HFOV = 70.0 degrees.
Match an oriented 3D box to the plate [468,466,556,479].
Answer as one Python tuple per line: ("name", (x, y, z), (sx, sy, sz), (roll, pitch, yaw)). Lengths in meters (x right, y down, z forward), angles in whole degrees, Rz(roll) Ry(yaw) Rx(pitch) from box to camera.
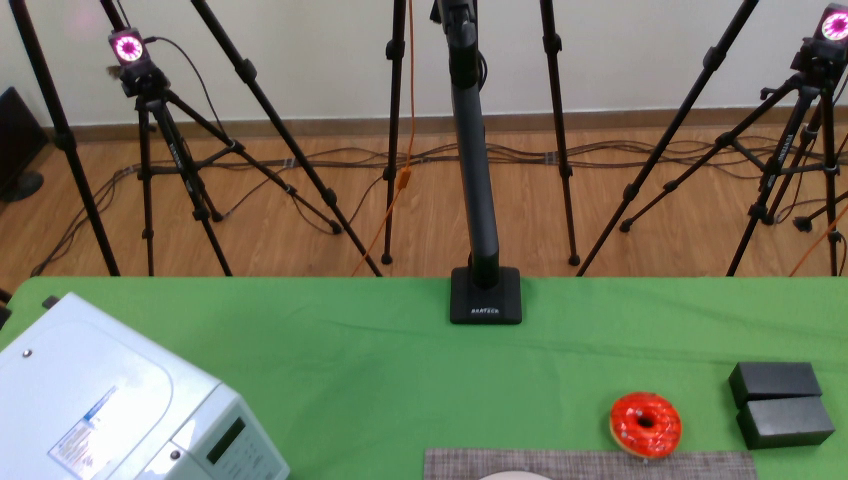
("plate", (0.114, 0.391, 0.754), (0.207, 0.039, 0.205), (-2, 50, 3))

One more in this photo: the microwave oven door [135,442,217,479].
("microwave oven door", (-0.338, 0.407, 0.631), (0.039, 0.246, 0.354), (22, 55, 23))

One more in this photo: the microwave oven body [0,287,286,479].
("microwave oven body", (-0.441, 0.331, 0.712), (0.324, 0.263, 0.440), (23, 56, 22))

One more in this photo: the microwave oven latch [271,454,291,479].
("microwave oven latch", (-0.215, 0.325, 0.823), (0.030, 0.030, 0.079), (25, 57, 23))

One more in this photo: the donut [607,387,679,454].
("donut", (0.307, 0.253, 0.851), (0.099, 0.049, 0.098), (-5, 46, 6))
